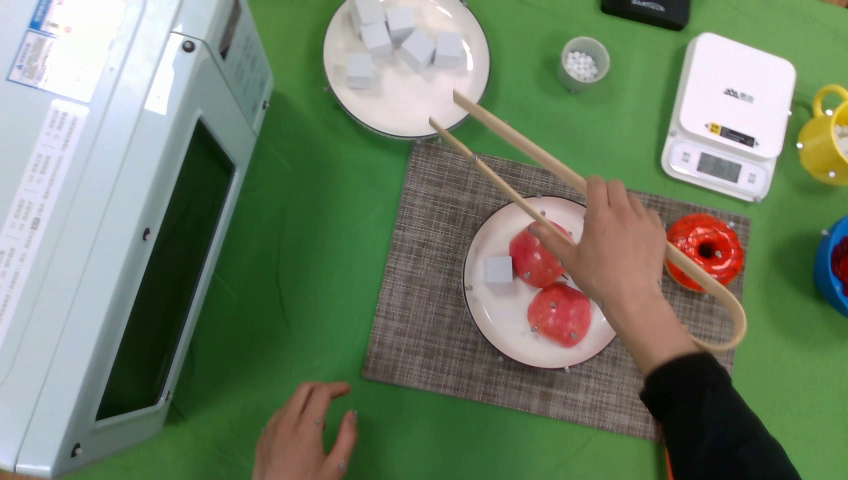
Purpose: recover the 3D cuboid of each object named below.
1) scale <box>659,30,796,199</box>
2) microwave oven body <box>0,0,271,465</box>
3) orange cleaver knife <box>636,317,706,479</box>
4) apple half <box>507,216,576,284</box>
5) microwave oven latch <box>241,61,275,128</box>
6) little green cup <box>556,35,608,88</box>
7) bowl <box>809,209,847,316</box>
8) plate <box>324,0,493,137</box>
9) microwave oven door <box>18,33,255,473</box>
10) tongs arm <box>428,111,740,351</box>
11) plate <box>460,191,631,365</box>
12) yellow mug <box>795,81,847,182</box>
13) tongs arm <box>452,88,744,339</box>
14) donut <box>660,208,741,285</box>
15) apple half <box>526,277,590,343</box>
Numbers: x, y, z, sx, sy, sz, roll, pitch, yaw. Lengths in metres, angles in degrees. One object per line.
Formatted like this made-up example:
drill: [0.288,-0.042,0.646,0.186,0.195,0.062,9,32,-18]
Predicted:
scale: [0.400,-0.166,0.798,0.149,0.031,0.200,17,81,-3]
microwave oven body: [-0.380,-0.061,0.581,0.326,0.260,0.440,16,81,-4]
orange cleaver knife: [0.307,0.201,0.736,0.077,0.012,0.210,-4,81,-12]
apple half: [0.143,0.008,0.723,0.081,0.053,0.074,-33,83,-10]
microwave oven latch: [-0.200,-0.175,0.714,0.030,0.029,0.079,18,81,-3]
little green cup: [0.201,-0.228,0.783,0.061,0.039,0.061,1,81,-5]
bowl: [0.545,0.033,0.760,0.151,0.077,0.151,1,82,-5]
plate: [-0.019,-0.225,0.760,0.208,0.039,0.207,1,81,-6]
microwave oven door: [-0.250,0.018,0.578,0.039,0.244,0.354,15,80,-3]
tongs arm: [0.150,-0.022,0.624,0.051,0.027,0.382,-41,73,-10]
plate: [0.144,0.045,0.733,0.209,0.038,0.208,1,81,-6]
yellow mug: [0.548,-0.146,0.793,0.100,0.064,0.130,-19,83,-8]
tongs arm: [0.168,-0.040,0.628,0.385,0.028,0.028,42,75,17]
donut: [0.342,0.009,0.756,0.099,0.048,0.098,1,82,-3]
apple half: [0.164,0.081,0.723,0.081,0.033,0.081,0,83,-1]
